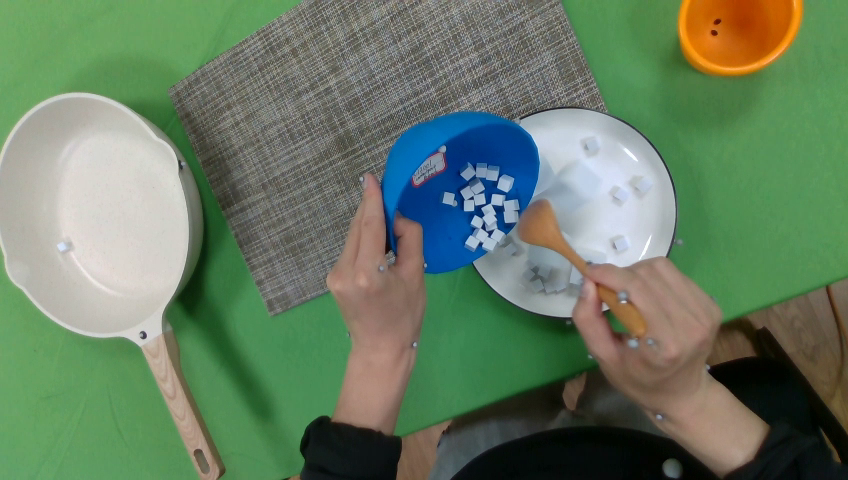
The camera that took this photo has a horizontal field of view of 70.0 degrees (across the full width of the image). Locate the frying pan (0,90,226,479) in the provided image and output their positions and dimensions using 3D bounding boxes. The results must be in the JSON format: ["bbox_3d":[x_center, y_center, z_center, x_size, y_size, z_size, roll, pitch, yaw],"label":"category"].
[{"bbox_3d":[-0.351,0.060,0.733,0.306,0.103,0.486,-28,82,20],"label":"frying pan"}]

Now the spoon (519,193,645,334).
[{"bbox_3d":[0.113,0.012,0.450,0.022,0.191,0.041,28,106,-28],"label":"spoon"}]

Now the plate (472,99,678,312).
[{"bbox_3d":[0.139,-0.033,0.601,0.207,0.039,0.208,3,102,16],"label":"plate"}]

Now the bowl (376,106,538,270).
[{"bbox_3d":[0.015,-0.056,0.521,0.151,0.153,0.076,-55,51,17],"label":"bowl"}]
